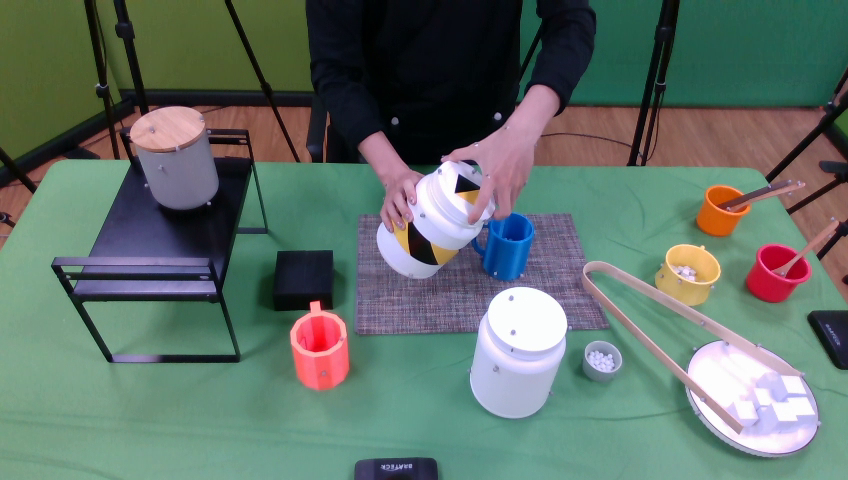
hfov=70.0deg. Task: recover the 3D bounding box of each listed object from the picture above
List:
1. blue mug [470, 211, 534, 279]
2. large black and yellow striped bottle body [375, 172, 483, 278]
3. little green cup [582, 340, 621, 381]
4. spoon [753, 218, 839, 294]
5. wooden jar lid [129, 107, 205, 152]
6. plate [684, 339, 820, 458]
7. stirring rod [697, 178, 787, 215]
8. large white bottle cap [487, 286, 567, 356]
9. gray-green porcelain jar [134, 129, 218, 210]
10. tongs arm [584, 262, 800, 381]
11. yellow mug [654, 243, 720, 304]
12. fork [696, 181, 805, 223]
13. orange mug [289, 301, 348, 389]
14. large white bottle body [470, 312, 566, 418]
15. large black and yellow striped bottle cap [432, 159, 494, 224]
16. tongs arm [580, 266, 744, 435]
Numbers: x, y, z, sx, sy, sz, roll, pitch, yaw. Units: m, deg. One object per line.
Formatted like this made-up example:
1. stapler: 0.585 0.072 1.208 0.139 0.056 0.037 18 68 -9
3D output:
1. blue mug: 0.141 0.005 1.140 0.116 0.106 0.082 18 48 13
2. large black and yellow striped bottle body: 0.016 -0.032 1.019 0.131 0.184 0.130 23 45 -25
3. little green cup: 0.295 0.204 1.014 0.061 0.039 0.061 2 45 -2
4. spoon: 0.700 0.031 1.138 0.194 0.022 0.041 -47 55 14
5. wooden jar lid: -0.385 -0.163 0.915 0.108 0.021 0.107 2 47 -2
6. plate: 0.523 0.256 0.982 0.208 0.039 0.206 2 46 -2
7. stirring rod: 0.650 -0.088 1.246 0.006 0.176 0.014 29 50 -38
8. large white bottle cap: 0.147 0.114 0.869 0.115 0.018 0.114 3 46 -3
9. gray-green porcelain jar: -0.388 -0.120 0.960 0.106 0.127 0.105 2 46 -2
10. tongs arm: 0.452 0.137 1.064 0.051 0.027 0.382 -34 50 -26
11. yellow mug: 0.504 0.054 1.154 0.099 0.064 0.130 28 50 22
12. fork: 0.659 -0.077 1.231 0.207 0.019 0.028 -26 35 34
13. orange mug: -0.170 0.162 0.976 0.083 0.101 0.125 -8 52 -11
14. large white bottle body: 0.143 0.173 0.930 0.131 0.185 0.130 2 46 -2
15. large black and yellow striped bottle cap: 0.064 -0.078 0.964 0.115 0.019 0.114 22 49 -28
16. tongs arm: 0.384 0.174 1.029 0.028 0.028 0.385 -26 46 -14
